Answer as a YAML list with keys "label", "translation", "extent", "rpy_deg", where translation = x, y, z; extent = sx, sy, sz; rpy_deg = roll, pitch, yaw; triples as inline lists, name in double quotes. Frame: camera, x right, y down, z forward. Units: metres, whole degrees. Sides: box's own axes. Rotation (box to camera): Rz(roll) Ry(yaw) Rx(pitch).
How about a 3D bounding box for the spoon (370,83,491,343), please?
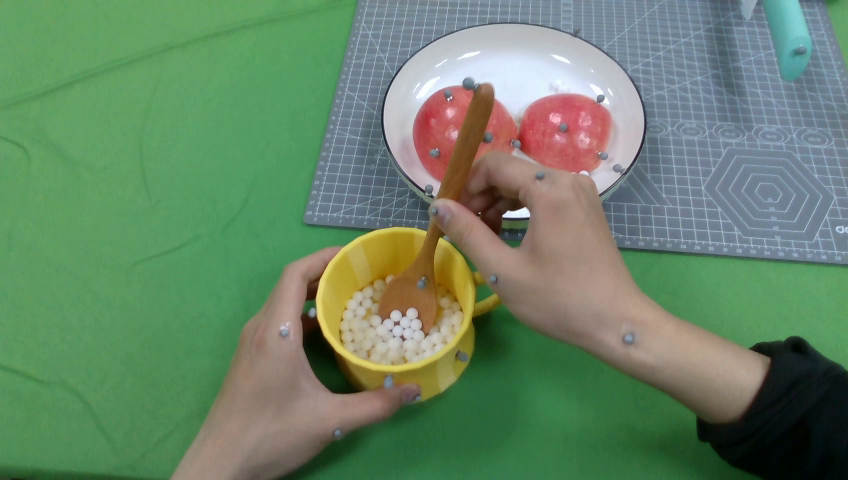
- label: "spoon"
  translation: [0.004, -0.005, 0.363]
  extent: [0.041, 0.195, 0.021]
  rpy_deg: [28, 41, 8]

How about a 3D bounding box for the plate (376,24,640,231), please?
- label: "plate"
  translation: [0.065, -0.092, 0.493]
  extent: [0.209, 0.038, 0.207]
  rpy_deg: [-1, 60, 2]

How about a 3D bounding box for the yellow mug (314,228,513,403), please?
- label: "yellow mug"
  translation: [-0.003, 0.047, 0.402]
  extent: [0.131, 0.064, 0.099]
  rpy_deg: [-15, 61, -8]

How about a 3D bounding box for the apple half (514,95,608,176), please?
- label: "apple half"
  translation: [0.110, -0.092, 0.483]
  extent: [0.081, 0.033, 0.080]
  rpy_deg: [-1, 62, 2]

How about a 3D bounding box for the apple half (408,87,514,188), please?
- label: "apple half"
  translation: [0.028, -0.088, 0.473]
  extent: [0.081, 0.054, 0.074]
  rpy_deg: [-34, 61, -16]

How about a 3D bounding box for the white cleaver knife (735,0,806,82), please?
- label: "white cleaver knife"
  translation: [0.303, -0.242, 0.556]
  extent: [0.021, 0.066, 0.284]
  rpy_deg: [3, 55, 9]
